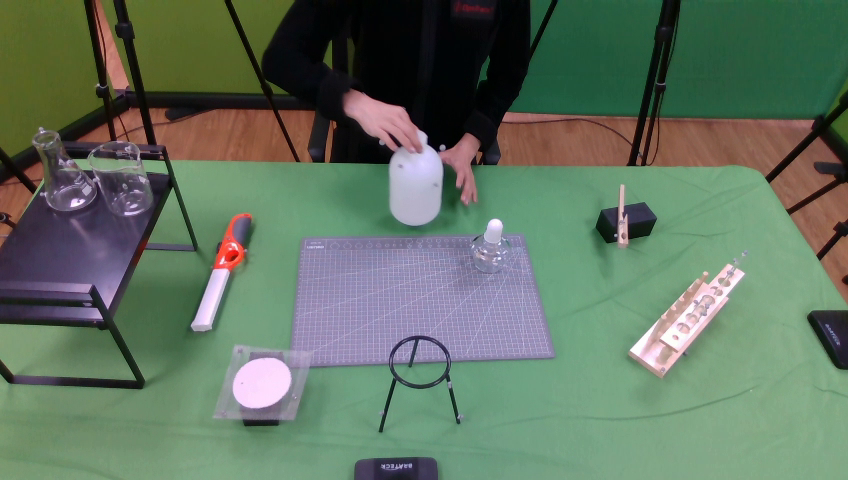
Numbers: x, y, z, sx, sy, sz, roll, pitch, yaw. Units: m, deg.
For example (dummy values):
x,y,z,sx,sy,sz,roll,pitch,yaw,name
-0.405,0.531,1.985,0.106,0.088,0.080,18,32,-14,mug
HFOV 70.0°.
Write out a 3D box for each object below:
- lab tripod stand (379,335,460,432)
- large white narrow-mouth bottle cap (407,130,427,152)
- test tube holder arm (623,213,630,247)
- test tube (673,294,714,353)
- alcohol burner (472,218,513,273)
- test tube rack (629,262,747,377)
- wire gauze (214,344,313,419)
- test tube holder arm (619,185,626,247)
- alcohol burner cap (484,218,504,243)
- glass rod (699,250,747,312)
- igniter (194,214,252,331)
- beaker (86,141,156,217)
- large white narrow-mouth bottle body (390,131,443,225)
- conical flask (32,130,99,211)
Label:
x,y,z,sx,sy,sz,roll,pitch,yaw,name
-0.011,0.214,0.911,0.148,0.132,0.147,1,45,0,lab tripod stand
-0.012,-0.177,1.083,0.038,0.024,0.037,1,50,-2,large white narrow-mouth bottle cap
0.393,-0.020,1.179,0.010,0.015,0.087,13,46,2,test tube holder arm
0.428,0.137,0.978,0.017,0.151,0.017,4,47,-4,test tube
0.128,0.005,1.132,0.078,0.120,0.077,0,47,0,alcohol burner
0.464,0.126,1.060,0.242,0.085,0.066,-34,56,-31,test tube rack
-0.241,0.213,0.916,0.121,0.011,0.124,5,46,1,wire gauze
0.397,-0.052,1.210,0.013,0.015,0.177,14,46,3,test tube holder arm
0.130,-0.021,1.106,0.034,0.048,0.033,3,51,-4,alcohol burner cap
0.500,0.075,1.021,0.008,0.201,0.008,0,55,1,glass rod
-0.367,0.050,1.119,0.057,0.025,0.275,-4,45,7,igniter
-0.467,-0.092,0.950,0.084,0.101,0.073,15,47,11,beaker
-0.014,-0.123,1.149,0.102,0.195,0.101,1,50,-1,large white narrow-mouth bottle body
-0.565,-0.111,0.944,0.075,0.122,0.075,2,46,-2,conical flask
